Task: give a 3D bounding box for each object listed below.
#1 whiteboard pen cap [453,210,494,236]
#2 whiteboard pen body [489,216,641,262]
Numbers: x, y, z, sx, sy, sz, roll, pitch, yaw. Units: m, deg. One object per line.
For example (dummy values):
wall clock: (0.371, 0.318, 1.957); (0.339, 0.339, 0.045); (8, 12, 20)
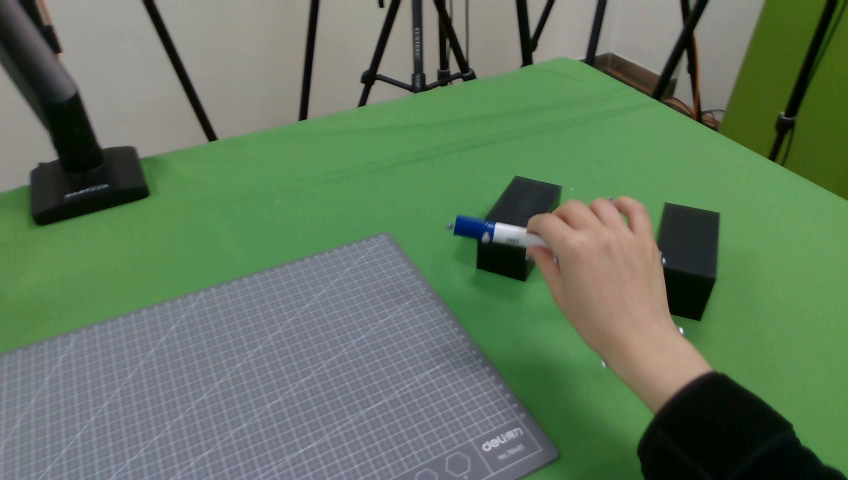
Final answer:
whiteboard pen cap: (0.040, -0.012, 0.476); (0.033, 0.018, 0.018); (12, 39, 2)
whiteboard pen body: (0.098, -0.003, 0.472); (0.141, 0.017, 0.017); (11, 39, 2)
